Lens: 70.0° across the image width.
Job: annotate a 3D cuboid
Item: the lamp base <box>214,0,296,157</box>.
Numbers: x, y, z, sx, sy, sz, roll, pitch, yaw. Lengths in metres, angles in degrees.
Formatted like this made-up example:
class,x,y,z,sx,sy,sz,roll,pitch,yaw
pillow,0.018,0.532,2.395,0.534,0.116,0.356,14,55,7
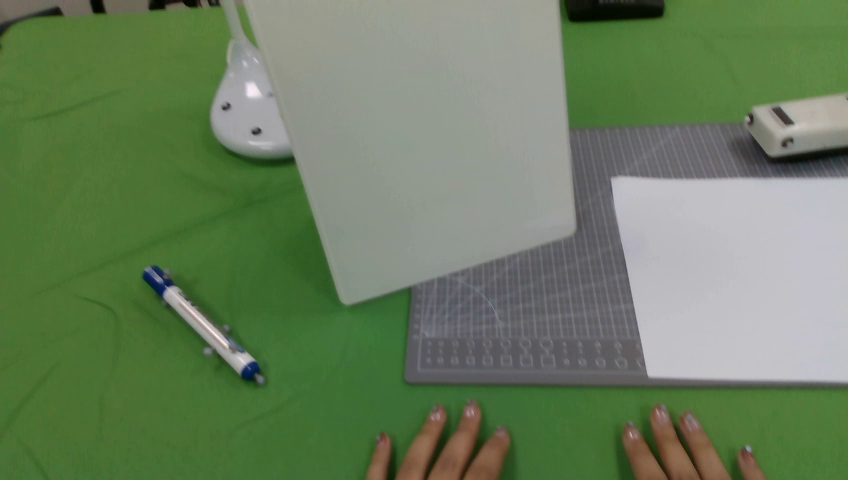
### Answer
class,x,y,z,sx,sy,sz,roll,pitch,yaw
lamp base,-0.171,-0.205,0.633,0.160,0.182,0.177,-39,52,-26

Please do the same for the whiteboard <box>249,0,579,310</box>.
class,x,y,z,sx,sy,sz,roll,pitch,yaw
whiteboard,-0.010,-0.133,0.505,0.217,0.308,0.142,-16,29,-8

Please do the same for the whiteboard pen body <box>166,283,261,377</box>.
class,x,y,z,sx,sy,sz,roll,pitch,yaw
whiteboard pen body,-0.180,0.065,0.494,0.139,0.017,0.017,34,59,27

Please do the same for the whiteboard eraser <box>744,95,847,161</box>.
class,x,y,z,sx,sy,sz,roll,pitch,yaw
whiteboard eraser,0.372,-0.105,0.576,0.113,0.042,0.055,-8,48,-1

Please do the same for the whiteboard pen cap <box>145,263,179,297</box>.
class,x,y,z,sx,sy,sz,roll,pitch,yaw
whiteboard pen cap,-0.223,0.035,0.521,0.033,0.018,0.018,36,60,25
